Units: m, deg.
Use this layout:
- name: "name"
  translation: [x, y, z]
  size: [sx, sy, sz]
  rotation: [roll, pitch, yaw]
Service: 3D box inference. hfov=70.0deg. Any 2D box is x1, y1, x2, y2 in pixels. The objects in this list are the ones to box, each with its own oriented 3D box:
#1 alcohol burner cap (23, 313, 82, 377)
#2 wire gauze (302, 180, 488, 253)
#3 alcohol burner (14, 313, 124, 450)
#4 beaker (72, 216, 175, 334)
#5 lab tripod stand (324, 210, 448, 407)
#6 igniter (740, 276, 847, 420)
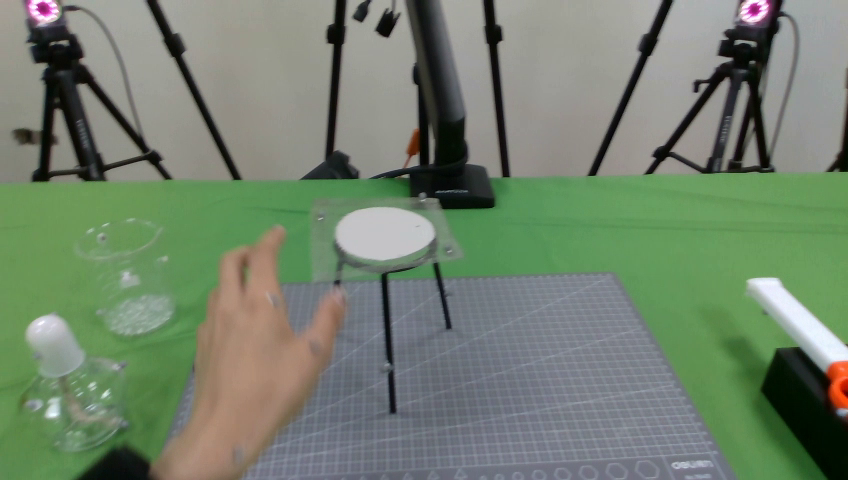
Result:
- name: "alcohol burner cap"
  translation: [-0.285, 0.077, 0.459]
  size: [0.034, 0.048, 0.033]
  rotation: [2, 37, -1]
- name: "wire gauze"
  translation: [-0.027, -0.020, 0.507]
  size: [0.125, 0.011, 0.120]
  rotation: [-9, 28, -29]
- name: "alcohol burner"
  translation: [-0.283, 0.107, 0.478]
  size: [0.078, 0.120, 0.077]
  rotation: [2, 30, -1]
- name: "beaker"
  translation: [-0.292, 0.036, 0.606]
  size: [0.084, 0.101, 0.073]
  rotation: [-27, 42, -37]
- name: "lab tripod stand"
  translation: [-0.033, 0.053, 0.547]
  size: [0.148, 0.132, 0.147]
  rotation: [2, 33, -1]
- name: "igniter"
  translation: [0.338, 0.109, 0.484]
  size: [0.057, 0.025, 0.274]
  rotation: [-3, 29, -2]
